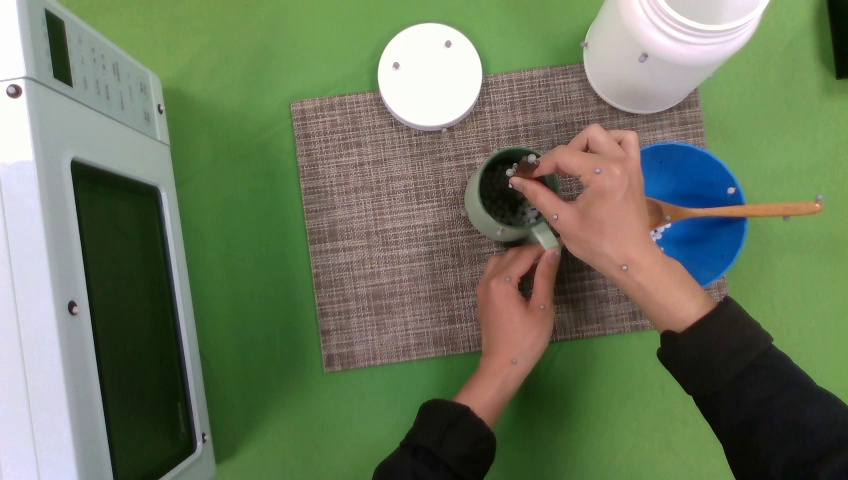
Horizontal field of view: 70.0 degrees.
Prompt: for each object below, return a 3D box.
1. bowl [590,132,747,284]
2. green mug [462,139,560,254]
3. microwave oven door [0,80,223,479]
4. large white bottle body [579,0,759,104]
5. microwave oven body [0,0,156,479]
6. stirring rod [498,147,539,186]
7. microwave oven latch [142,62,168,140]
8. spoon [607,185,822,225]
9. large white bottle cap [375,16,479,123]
[{"bbox_3d":[0.240,-0.030,0.630,0.151,0.077,0.151,0,89,1],"label":"bowl"},{"bbox_3d":[0.097,-0.040,0.617,0.092,0.105,0.125,-35,88,-1],"label":"green mug"},{"bbox_3d":[-0.262,0.067,0.533,0.039,0.244,0.355,-10,88,0],"label":"microwave oven door"},{"bbox_3d":[0.232,-0.220,0.581,0.130,0.185,0.130,0,84,1],"label":"large white bottle body"},{"bbox_3d":[-0.413,0.050,0.539,0.326,0.260,0.441,-10,89,-1],"label":"microwave oven body"},{"bbox_3d":[0.080,-0.062,0.534,0.014,0.176,0.006,21,89,2],"label":"stirring rod"},{"bbox_3d":[-0.294,-0.145,0.640,0.030,0.029,0.079,-10,89,-1],"label":"microwave oven latch"},{"bbox_3d":[0.283,-0.038,0.602,0.193,0.022,0.041,-1,92,24],"label":"spoon"},{"bbox_3d":[0.003,-0.187,0.664,0.115,0.018,0.114,0,87,0],"label":"large white bottle cap"}]
